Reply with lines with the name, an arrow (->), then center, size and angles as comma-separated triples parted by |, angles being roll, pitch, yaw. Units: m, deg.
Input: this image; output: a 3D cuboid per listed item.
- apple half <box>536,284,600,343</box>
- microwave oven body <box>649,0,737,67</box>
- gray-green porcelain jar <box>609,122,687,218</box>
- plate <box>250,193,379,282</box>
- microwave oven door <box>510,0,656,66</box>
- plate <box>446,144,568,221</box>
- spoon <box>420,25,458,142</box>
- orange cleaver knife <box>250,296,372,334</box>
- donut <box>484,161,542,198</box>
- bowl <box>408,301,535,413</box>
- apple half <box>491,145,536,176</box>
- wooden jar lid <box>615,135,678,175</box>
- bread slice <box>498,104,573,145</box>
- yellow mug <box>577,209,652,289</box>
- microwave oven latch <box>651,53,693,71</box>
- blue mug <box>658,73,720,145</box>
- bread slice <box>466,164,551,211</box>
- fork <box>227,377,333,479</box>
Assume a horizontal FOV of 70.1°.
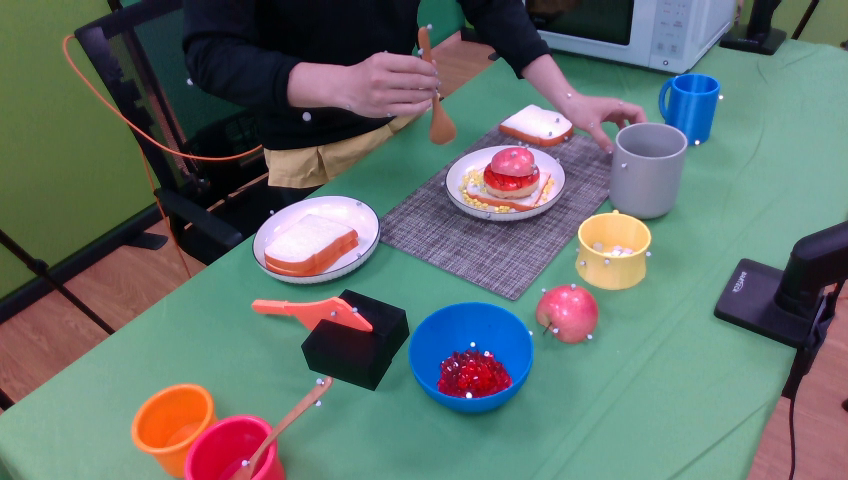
apple half -> 0.196, 0.090, 0.815 | 0.075, 0.053, 0.080 | -22, 42, -20
microwave oven body -> 0.475, -0.602, 1.411 | 0.438, 0.261, 0.327 | 23, 50, 32
gray-green porcelain jar -> 0.353, -0.106, 0.964 | 0.106, 0.127, 0.105 | -4, 41, 4
plate -> -0.174, -0.001, 0.984 | 0.209, 0.038, 0.208 | -3, 40, 3
microwave oven door -> 0.350, -0.539, 1.348 | 0.353, 0.245, 0.039 | 24, 50, 31
plate -> 0.142, -0.096, 1.045 | 0.207, 0.039, 0.206 | -4, 40, 4
spoon -> 0.015, -0.203, 0.815 | 0.041, 0.195, 0.021 | -14, 48, 2
orange cleaver knife -> -0.159, 0.103, 0.828 | 0.210, 0.078, 0.012 | -4, 43, 39
donut -> 0.149, -0.109, 1.015 | 0.099, 0.048, 0.098 | -4, 41, 4
bowl -> 0.060, 0.156, 0.739 | 0.151, 0.077, 0.150 | -4, 40, 4
apple half -> 0.147, -0.138, 0.994 | 0.081, 0.033, 0.081 | 0, 37, 1
wooden jar lid -> 0.398, -0.151, 1.086 | 0.108, 0.021, 0.108 | -2, 42, 2
bread slice -> 0.231, -0.231, 1.205 | 0.105, 0.019, 0.130 | -37, 47, -28
yellow mug -> 0.279, 0.004, 0.893 | 0.099, 0.064, 0.130 | 5, 41, 14
microwave oven latch -> 0.532, -0.387, 1.301 | 0.078, 0.029, 0.030 | 27, 52, 34
blue mug -> 0.483, -0.250, 1.127 | 0.082, 0.106, 0.115 | -26, 44, -19
bread slice -> 0.141, -0.092, 1.042 | 0.133, 0.018, 0.107 | 11, 43, 19
fork -> -0.162, 0.216, 0.647 | 0.207, 0.019, 0.028 | -49, 41, 16
